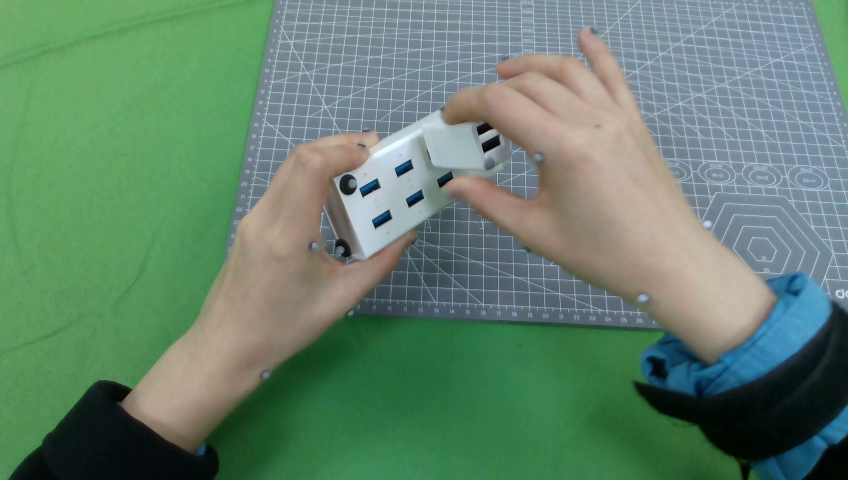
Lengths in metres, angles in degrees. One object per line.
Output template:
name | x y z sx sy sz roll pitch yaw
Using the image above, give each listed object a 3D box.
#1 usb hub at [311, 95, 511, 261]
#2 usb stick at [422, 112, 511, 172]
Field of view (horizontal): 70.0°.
usb hub | -0.002 -0.039 0.347 0.125 0.025 0.050 -35 114 -33
usb stick | 0.017 -0.051 0.318 0.021 0.059 0.027 -31 111 -25
